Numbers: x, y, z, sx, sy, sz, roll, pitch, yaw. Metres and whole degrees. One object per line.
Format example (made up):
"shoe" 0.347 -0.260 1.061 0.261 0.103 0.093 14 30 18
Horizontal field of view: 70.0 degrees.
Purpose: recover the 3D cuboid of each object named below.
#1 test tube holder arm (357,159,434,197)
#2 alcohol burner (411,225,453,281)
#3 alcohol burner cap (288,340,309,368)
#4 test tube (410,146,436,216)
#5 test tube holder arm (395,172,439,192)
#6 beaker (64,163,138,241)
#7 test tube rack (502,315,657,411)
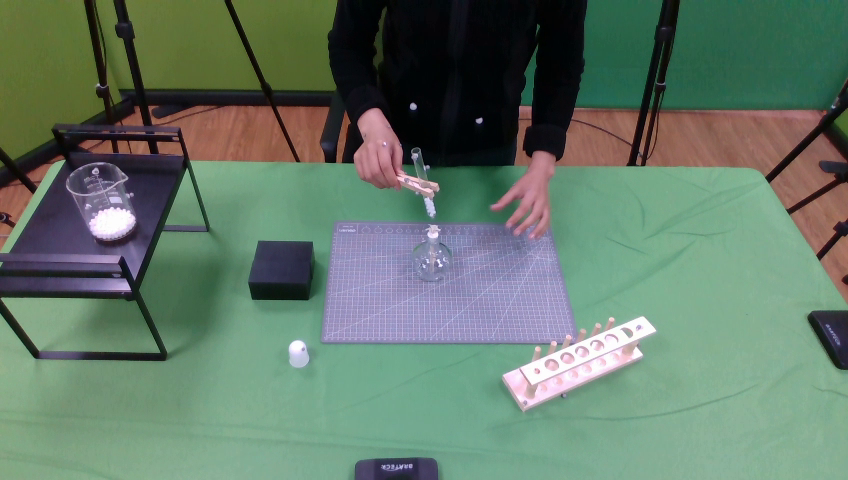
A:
"test tube holder arm" -0.052 -0.108 1.037 0.177 0.015 0.013 24 56 34
"alcohol burner" 0.015 0.018 1.110 0.078 0.120 0.077 1 45 -1
"alcohol burner cap" -0.207 0.183 0.991 0.034 0.048 0.033 2 47 -2
"test tube" 0.000 -0.093 0.996 0.017 0.151 0.017 -7 48 8
"test tube holder arm" -0.014 -0.098 1.015 0.087 0.015 0.010 18 53 30
"beaker" -0.477 -0.055 0.910 0.084 0.101 0.073 -9 48 -13
"test tube rack" 0.253 0.186 0.988 0.242 0.085 0.066 -18 50 -20
